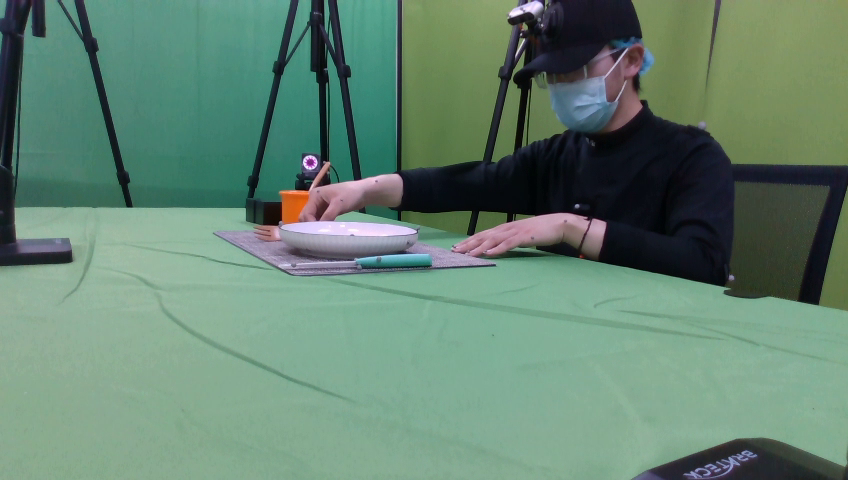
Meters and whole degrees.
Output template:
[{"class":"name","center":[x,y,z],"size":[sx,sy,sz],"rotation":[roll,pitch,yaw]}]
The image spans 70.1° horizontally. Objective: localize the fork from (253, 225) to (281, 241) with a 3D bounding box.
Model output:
[{"class":"fork","center":[-0.196,-0.015,1.037],"size":[0.208,0.028,0.018],"rotation":[-3,-26,-37]}]

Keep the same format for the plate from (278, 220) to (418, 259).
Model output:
[{"class":"plate","center":[-0.114,-0.002,0.914],"size":[0.209,0.038,0.209],"rotation":[2,7,0]}]

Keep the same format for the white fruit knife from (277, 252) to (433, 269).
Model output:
[{"class":"white fruit knife","center":[-0.082,0.029,0.772],"size":[0.208,0.016,0.027],"rotation":[-3,-20,-22]}]

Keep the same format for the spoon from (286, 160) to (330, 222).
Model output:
[{"class":"spoon","center":[-0.233,-0.101,1.252],"size":[0.041,0.193,0.022],"rotation":[2,-38,24]}]
